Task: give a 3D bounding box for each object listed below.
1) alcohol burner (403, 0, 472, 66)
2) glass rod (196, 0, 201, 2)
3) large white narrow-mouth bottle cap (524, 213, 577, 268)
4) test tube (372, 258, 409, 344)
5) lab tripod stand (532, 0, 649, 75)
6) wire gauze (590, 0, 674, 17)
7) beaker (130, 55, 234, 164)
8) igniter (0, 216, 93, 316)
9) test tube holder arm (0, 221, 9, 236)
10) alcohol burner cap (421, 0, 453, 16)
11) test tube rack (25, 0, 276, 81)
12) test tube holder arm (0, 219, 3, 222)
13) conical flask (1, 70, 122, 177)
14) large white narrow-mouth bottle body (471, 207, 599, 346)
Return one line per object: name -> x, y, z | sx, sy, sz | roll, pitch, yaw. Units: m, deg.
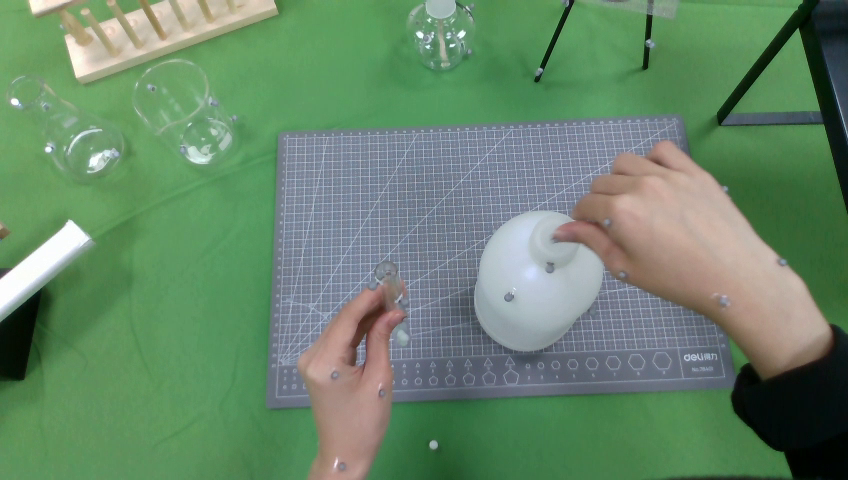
alcohol burner -> 0.015, -0.246, 0.660 | 0.078, 0.120, 0.077 | 0, 69, 0
glass rod -> -0.283, -0.329, 0.636 | 0.008, 0.201, 0.008 | -3, 64, 6
large white narrow-mouth bottle cap -> 0.092, 0.001, 0.436 | 0.038, 0.024, 0.037 | 0, 72, 1
test tube -> -0.023, 0.051, 0.456 | 0.017, 0.151, 0.017 | -1, 64, 2
lab tripod stand -> 0.185, -0.252, 0.649 | 0.148, 0.132, 0.147 | 0, 69, 0
wire gauze -> 0.191, -0.276, 0.586 | 0.121, 0.011, 0.124 | 18, 73, 5
beaker -> -0.246, -0.127, 0.630 | 0.074, 0.101, 0.083 | 12, 71, 6
igniter -> -0.425, 0.082, 0.547 | 0.057, 0.025, 0.276 | 40, 73, 11
test tube holder arm -> -0.437, 0.014, 0.575 | 0.010, 0.015, 0.087 | 42, 75, 13
alcohol burner cap -> 0.013, -0.260, 0.626 | 0.034, 0.048, 0.033 | 0, 69, 0
test tube rack -> -0.303, -0.272, 0.687 | 0.242, 0.086, 0.066 | -23, 72, -7
test tube holder arm -> -0.472, 0.042, 0.565 | 0.013, 0.015, 0.178 | 41, 75, 13
conical flask -> -0.372, -0.122, 0.616 | 0.075, 0.122, 0.075 | 0, 70, 1
large white narrow-mouth bottle body -> 0.095, 0.028, 0.519 | 0.102, 0.196, 0.101 | 0, 72, 1
